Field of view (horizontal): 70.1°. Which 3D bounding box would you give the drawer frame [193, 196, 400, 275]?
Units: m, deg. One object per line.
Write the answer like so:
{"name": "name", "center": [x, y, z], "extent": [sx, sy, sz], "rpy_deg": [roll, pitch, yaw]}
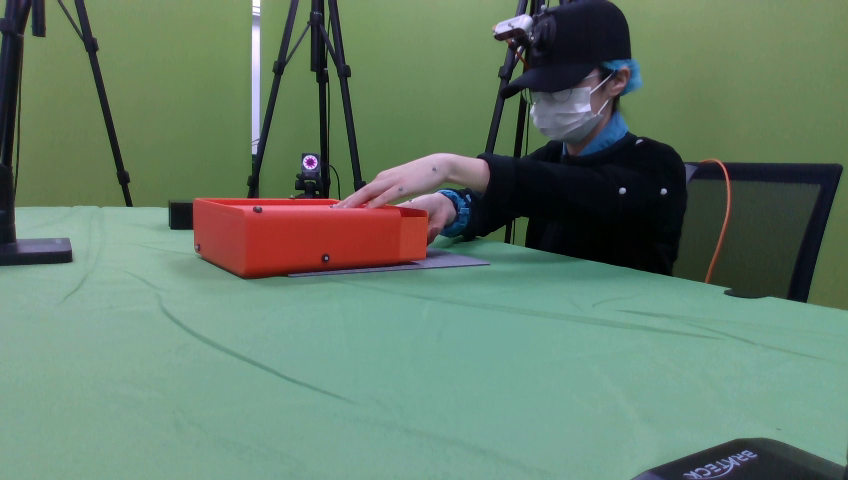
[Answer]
{"name": "drawer frame", "center": [-0.173, -0.014, 0.815], "extent": [0.215, 0.082, 0.200], "rpy_deg": [-4, 10, -37]}

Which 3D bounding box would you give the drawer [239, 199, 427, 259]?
{"name": "drawer", "center": [-0.135, -0.016, 0.842], "extent": [0.213, 0.073, 0.193], "rpy_deg": [-3, 10, -35]}

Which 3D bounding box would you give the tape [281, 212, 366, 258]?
{"name": "tape", "center": [-0.138, -0.009, 0.838], "extent": [0.117, 0.052, 0.117], "rpy_deg": [3, 7, 0]}
